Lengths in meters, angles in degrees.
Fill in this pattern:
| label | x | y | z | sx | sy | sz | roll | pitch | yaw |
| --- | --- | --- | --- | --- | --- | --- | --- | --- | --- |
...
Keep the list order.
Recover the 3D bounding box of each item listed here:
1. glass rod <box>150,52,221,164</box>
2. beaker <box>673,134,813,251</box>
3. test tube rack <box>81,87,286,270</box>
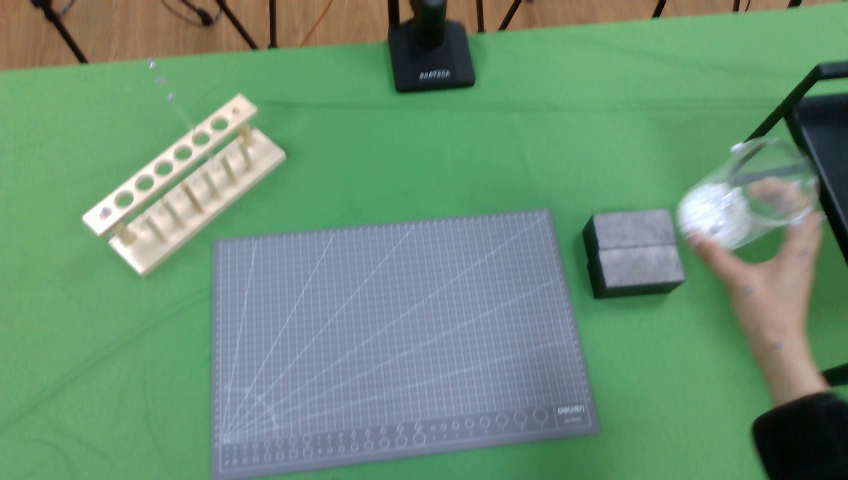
| label | x | y | z | sx | sy | sz | roll | pitch | yaw |
| --- | --- | --- | --- | --- | --- | --- | --- | --- | --- |
| glass rod | -0.283 | -0.150 | 0.728 | 0.008 | 0.201 | 0.008 | -1 | 62 | 3 |
| beaker | 0.270 | -0.034 | 0.530 | 0.084 | 0.100 | 0.073 | -32 | 78 | -13 |
| test tube rack | -0.295 | -0.079 | 0.771 | 0.066 | 0.086 | 0.242 | 41 | 72 | 13 |
